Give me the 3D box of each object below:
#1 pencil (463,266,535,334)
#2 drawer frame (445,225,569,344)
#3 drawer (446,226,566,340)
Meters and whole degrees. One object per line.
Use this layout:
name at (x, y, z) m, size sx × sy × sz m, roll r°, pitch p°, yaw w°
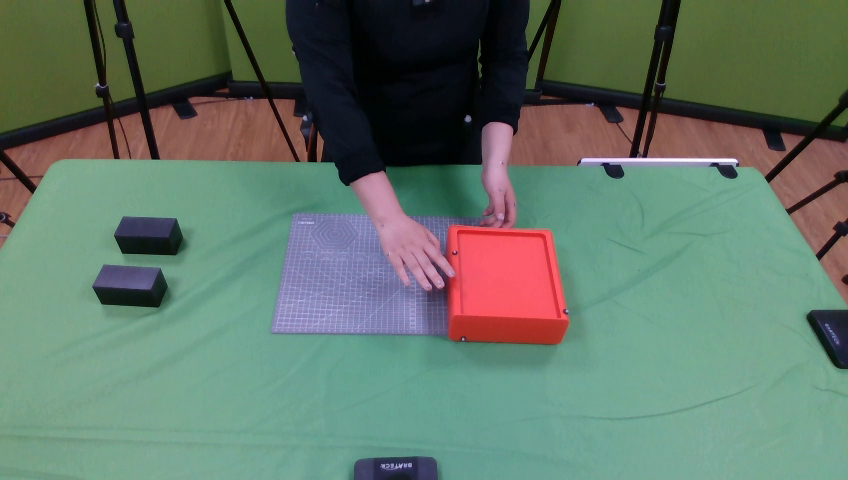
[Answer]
pencil at (0.131, 0.104, 1.098) m, size 0.012 × 0.012 × 0.193 m, roll -26°, pitch 51°, yaw -26°
drawer frame at (0.141, 0.076, 1.089) m, size 0.202 × 0.083 × 0.212 m, roll 3°, pitch 47°, yaw -4°
drawer at (0.140, 0.073, 1.094) m, size 0.194 × 0.073 × 0.210 m, roll 3°, pitch 47°, yaw -3°
